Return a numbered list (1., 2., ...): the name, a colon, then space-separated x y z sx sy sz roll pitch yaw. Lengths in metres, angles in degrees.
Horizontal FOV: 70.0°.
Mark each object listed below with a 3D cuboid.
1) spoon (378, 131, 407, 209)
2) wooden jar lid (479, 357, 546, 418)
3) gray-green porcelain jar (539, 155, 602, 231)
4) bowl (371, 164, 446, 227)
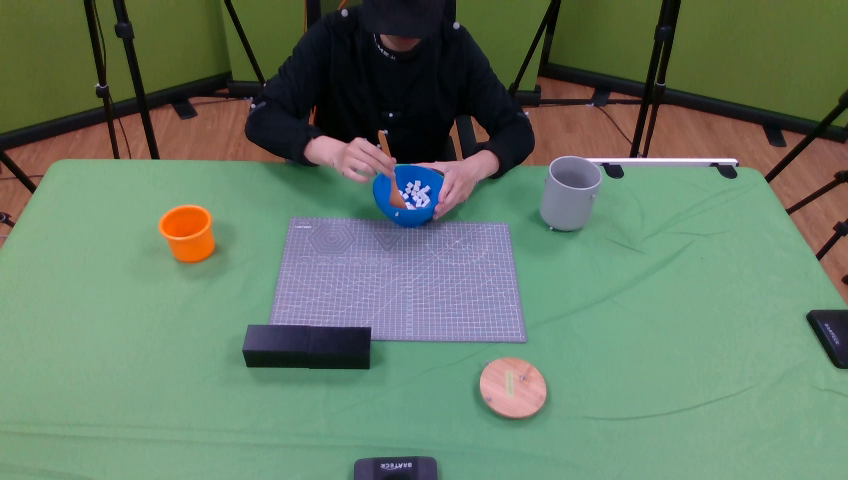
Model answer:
1. spoon: -0.063 -0.120 1.140 0.041 0.195 0.021 9 39 27
2. wooden jar lid: 0.142 0.240 0.979 0.108 0.021 0.107 1 46 -1
3. gray-green porcelain jar: 0.294 -0.091 1.235 0.106 0.127 0.105 2 46 -2
4. bowl: -0.032 -0.079 1.230 0.151 0.077 0.150 2 43 -2
